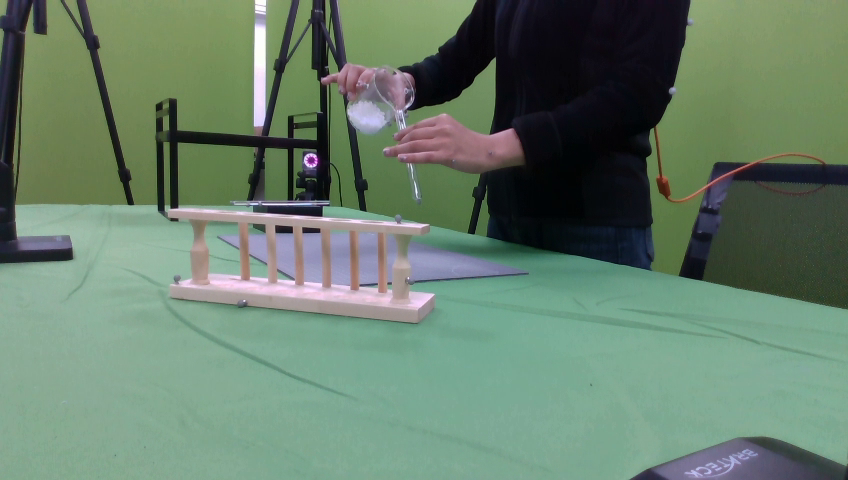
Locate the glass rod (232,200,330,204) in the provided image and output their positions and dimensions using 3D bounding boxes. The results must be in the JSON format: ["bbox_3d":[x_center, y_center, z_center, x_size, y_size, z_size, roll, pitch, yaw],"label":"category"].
[{"bbox_3d":[-0.266,-0.072,1.146,0.201,0.008,0.008,-4,10,-40],"label":"glass rod"}]

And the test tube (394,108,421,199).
[{"bbox_3d":[-0.025,-0.131,0.904,0.017,0.150,0.017,-11,-18,-3],"label":"test tube"}]

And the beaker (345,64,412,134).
[{"bbox_3d":[-0.075,-0.220,0.971,0.074,0.084,0.100,-5,-16,-38],"label":"beaker"}]

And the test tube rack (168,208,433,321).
[{"bbox_3d":[-0.115,0.017,0.574,0.242,0.085,0.067,4,8,13],"label":"test tube rack"}]
